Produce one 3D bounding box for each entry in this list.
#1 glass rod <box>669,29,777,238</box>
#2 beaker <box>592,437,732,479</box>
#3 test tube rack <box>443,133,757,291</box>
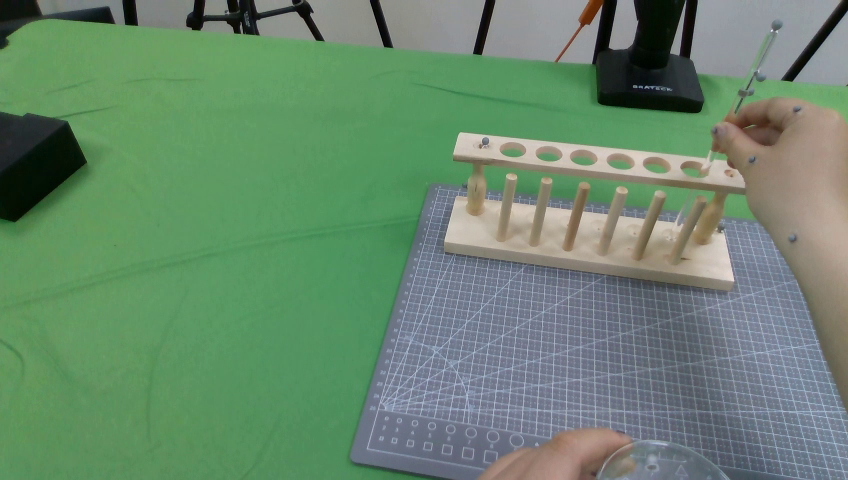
[{"bbox_3d":[0.224,-0.068,0.465,0.008,0.201,0.008,1,49,-1],"label":"glass rod"},{"bbox_3d":[0.105,0.158,0.306,0.084,0.101,0.073,-1,44,-8],"label":"beaker"},{"bbox_3d":[0.141,-0.025,0.516,0.242,0.086,0.066,8,45,8],"label":"test tube rack"}]
